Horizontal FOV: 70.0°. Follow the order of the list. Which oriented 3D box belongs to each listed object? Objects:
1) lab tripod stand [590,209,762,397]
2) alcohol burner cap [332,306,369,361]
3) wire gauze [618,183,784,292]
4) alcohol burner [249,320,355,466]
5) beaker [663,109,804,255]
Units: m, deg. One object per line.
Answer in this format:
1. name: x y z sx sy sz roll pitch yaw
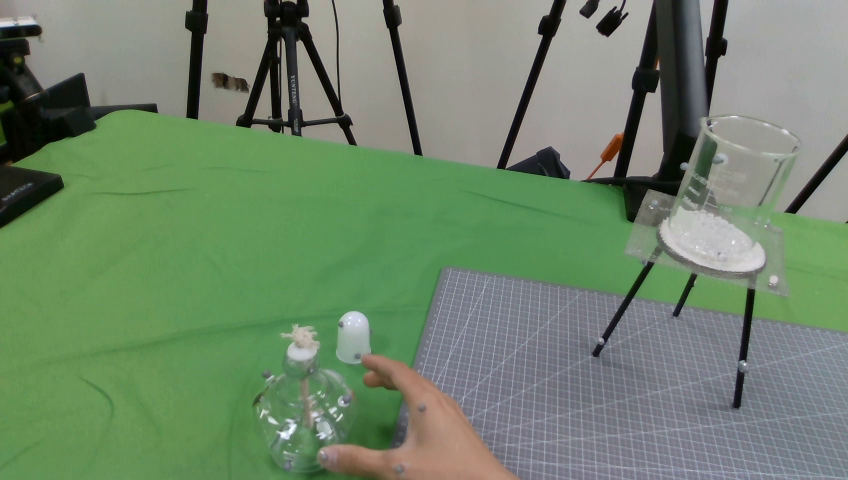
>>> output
1. lab tripod stand: 0.238 0.052 0.548 0.148 0.132 0.147 5 34 -3
2. alcohol burner cap: -0.067 0.083 0.550 0.034 0.048 0.033 3 34 -2
3. wire gauze: 0.237 -0.004 0.513 0.121 0.011 0.124 18 38 18
4. alcohol burner: -0.090 0.108 0.443 0.078 0.120 0.077 2 34 -1
5. beaker: 0.239 -0.046 0.487 0.074 0.101 0.083 -15 40 -28
